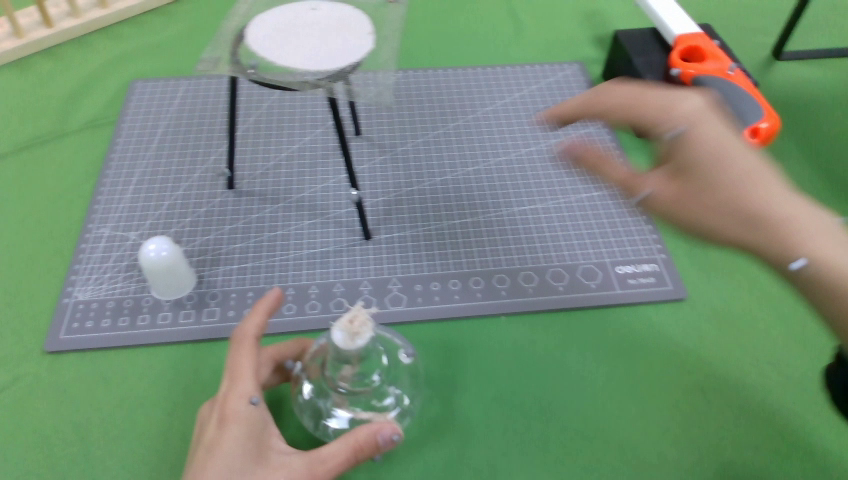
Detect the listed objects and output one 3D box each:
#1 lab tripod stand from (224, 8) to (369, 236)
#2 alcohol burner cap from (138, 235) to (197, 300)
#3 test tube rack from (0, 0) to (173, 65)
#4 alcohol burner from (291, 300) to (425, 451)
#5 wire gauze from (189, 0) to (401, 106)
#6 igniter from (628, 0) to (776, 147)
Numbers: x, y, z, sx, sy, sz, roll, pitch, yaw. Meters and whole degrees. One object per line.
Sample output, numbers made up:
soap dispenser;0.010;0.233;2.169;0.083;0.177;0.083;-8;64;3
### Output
lab tripod stand;-0.086;-0.089;0.454;0.148;0.132;0.147;2;51;-3
alcohol burner cap;-0.182;0.016;0.424;0.034;0.048;0.033;2;50;-2
test tube rack;-0.390;-0.255;0.612;0.242;0.086;0.066;-35;61;-27
alcohol burner;-0.039;0.072;0.342;0.078;0.120;0.077;0;52;0
wire gauze;-0.079;-0.137;0.407;0.125;0.011;0.120;6;51;0
igniter;0.237;-0.177;0.551;0.057;0.025;0.273;-9;49;-5
